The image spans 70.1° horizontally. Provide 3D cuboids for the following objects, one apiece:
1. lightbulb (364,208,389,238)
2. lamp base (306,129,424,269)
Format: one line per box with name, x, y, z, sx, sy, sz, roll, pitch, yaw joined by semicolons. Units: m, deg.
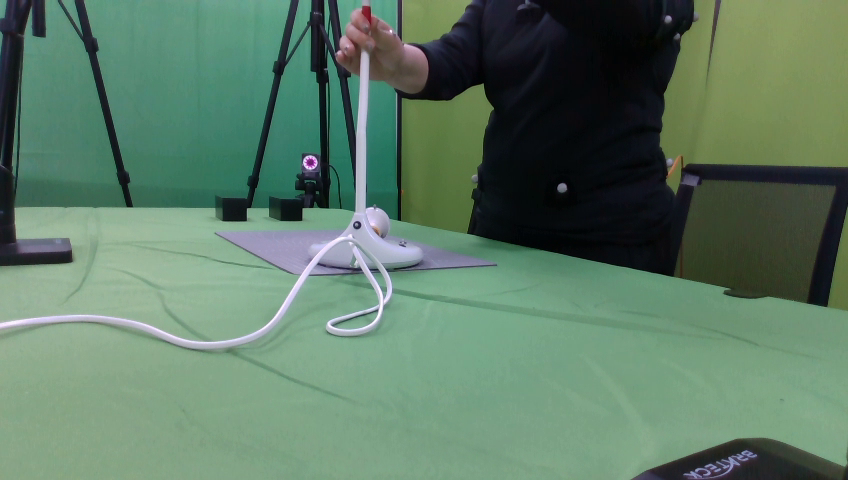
lightbulb;-0.089;-0.017;1.019;0.059;0.059;0.107;3;23;-2
lamp base;-0.077;-0.057;0.810;0.161;0.180;0.179;2;10;-4
